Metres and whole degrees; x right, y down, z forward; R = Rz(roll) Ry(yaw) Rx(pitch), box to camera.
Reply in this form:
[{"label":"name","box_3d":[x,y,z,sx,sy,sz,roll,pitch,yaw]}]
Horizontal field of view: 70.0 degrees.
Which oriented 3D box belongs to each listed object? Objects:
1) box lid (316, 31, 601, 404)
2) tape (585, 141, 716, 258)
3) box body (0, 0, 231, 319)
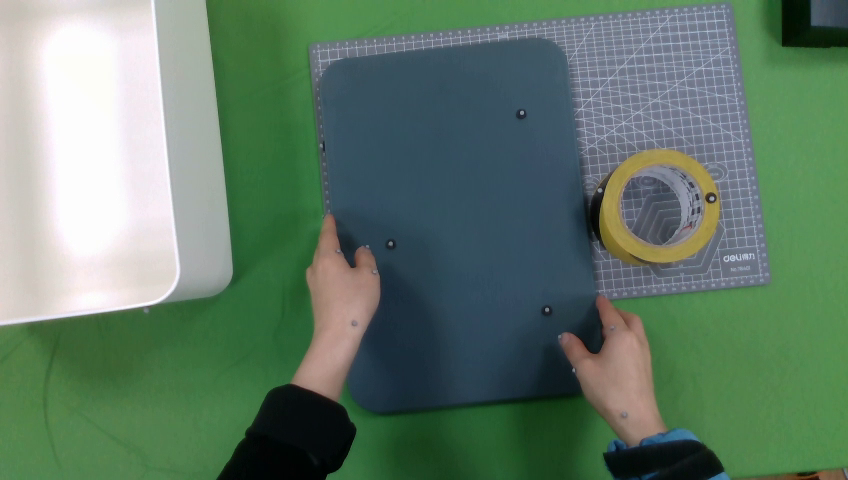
[{"label":"box lid","box_3d":[0.034,-0.028,0.624,0.263,0.015,0.370,-6,87,0]},{"label":"tape","box_3d":[0.224,-0.037,0.602,0.117,0.053,0.116,0,87,1]},{"label":"box body","box_3d":[-0.335,-0.114,0.558,0.254,0.160,0.363,-7,86,0]}]
